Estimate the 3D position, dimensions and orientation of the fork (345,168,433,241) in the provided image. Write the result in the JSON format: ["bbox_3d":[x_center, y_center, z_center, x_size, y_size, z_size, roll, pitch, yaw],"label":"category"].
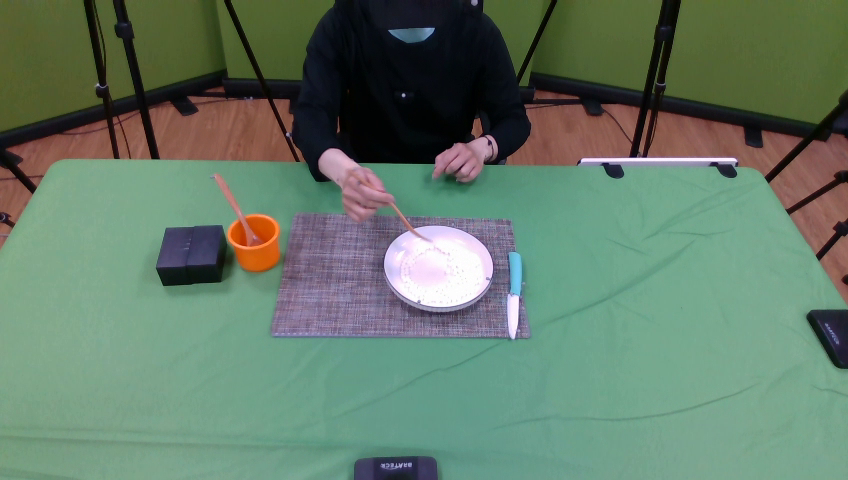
[{"bbox_3d":[-0.061,-0.060,1.081,0.018,0.208,0.028,-49,19,-7],"label":"fork"}]

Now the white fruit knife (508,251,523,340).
[{"bbox_3d":[0.169,0.098,1.113,0.027,0.016,0.206,-13,43,23],"label":"white fruit knife"}]

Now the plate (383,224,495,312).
[{"bbox_3d":[0.026,0.055,1.128,0.209,0.038,0.208,2,46,-2],"label":"plate"}]

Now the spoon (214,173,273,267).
[{"bbox_3d":[-0.336,-0.037,1.121,0.041,0.194,0.021,-29,10,-24],"label":"spoon"}]
